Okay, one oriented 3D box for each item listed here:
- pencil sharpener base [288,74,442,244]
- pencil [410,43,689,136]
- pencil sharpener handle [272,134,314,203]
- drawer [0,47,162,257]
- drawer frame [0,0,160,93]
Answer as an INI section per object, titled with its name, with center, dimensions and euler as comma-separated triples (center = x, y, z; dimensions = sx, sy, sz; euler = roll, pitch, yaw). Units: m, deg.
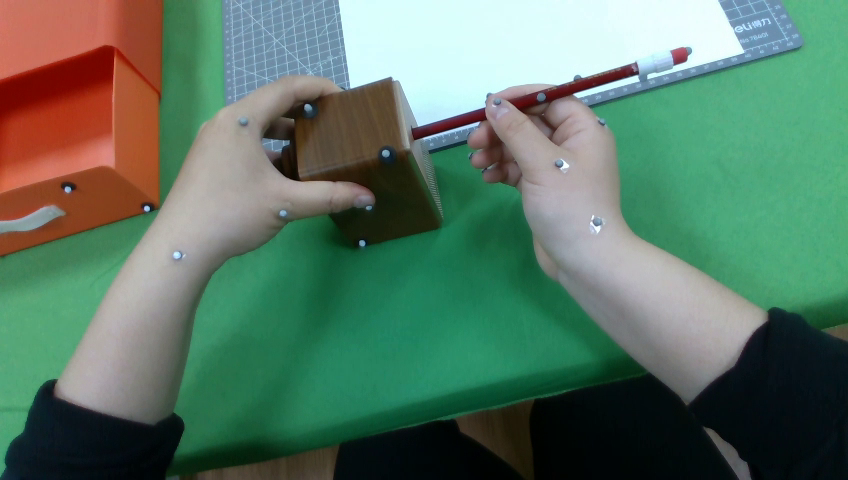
[pencil sharpener base]
center = -0.037, -0.049, 0.412
dimensions = 0.076, 0.108, 0.061
euler = -14, 64, 8
[pencil]
center = 0.060, -0.087, 0.369
dimensions = 0.194, 0.012, 0.012
euler = -14, 64, 11
[pencil sharpener handle]
center = -0.090, -0.043, 0.409
dimensions = 0.030, 0.068, 0.035
euler = -14, 69, 8
[drawer]
center = -0.333, -0.102, 0.523
dimensions = 0.194, 0.074, 0.210
euler = -16, 63, 7
[drawer frame]
center = -0.357, -0.205, 0.573
dimensions = 0.201, 0.083, 0.211
euler = -16, 63, 7
